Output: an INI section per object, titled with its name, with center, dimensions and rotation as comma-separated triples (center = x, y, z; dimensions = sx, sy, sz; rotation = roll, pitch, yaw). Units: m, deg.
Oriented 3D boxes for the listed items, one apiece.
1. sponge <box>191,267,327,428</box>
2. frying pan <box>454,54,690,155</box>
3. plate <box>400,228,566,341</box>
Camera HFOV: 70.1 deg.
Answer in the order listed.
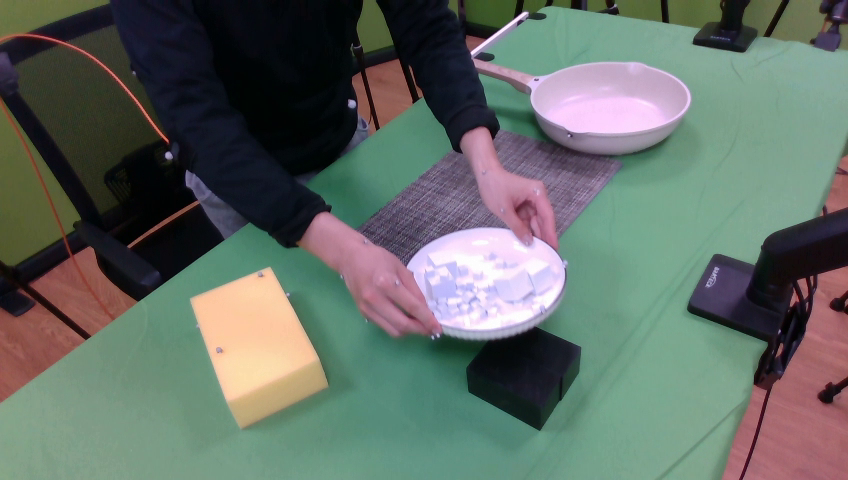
[sponge]
center = -0.226, 0.135, 0.814
dimensions = 0.119, 0.061, 0.205
rotation = -23, 43, -19
[frying pan]
center = 0.270, -0.298, 1.211
dimensions = 0.484, 0.103, 0.307
rotation = 27, 49, 24
[plate]
center = 0.074, 0.057, 0.765
dimensions = 0.207, 0.039, 0.206
rotation = -4, 35, 4
